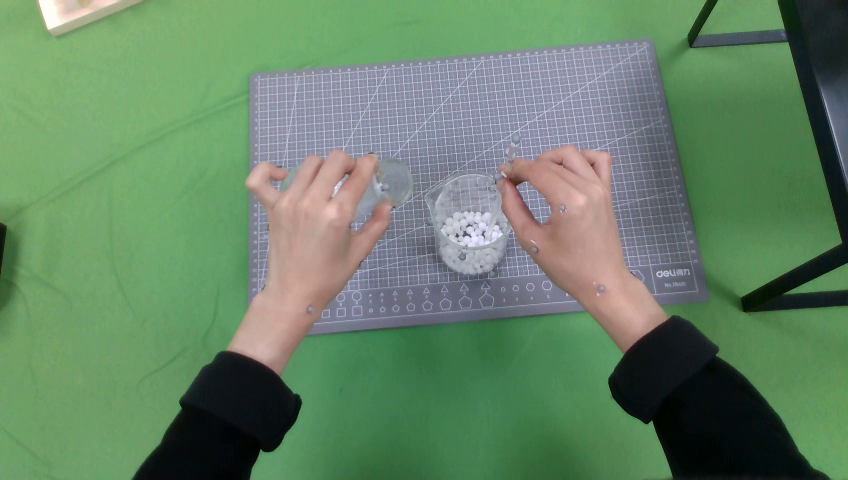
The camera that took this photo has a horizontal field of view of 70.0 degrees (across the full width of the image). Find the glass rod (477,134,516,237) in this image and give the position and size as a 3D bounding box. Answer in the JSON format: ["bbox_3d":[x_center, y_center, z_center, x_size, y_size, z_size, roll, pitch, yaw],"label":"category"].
[{"bbox_3d":[0.058,-0.039,0.510,0.008,0.201,0.008,1,71,-1],"label":"glass rod"}]

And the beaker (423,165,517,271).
[{"bbox_3d":[0.040,-0.016,0.567,0.084,0.101,0.073,18,74,9],"label":"beaker"}]

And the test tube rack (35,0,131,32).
[{"bbox_3d":[-0.341,-0.333,0.686,0.242,0.085,0.066,-25,73,-6],"label":"test tube rack"}]

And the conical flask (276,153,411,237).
[{"bbox_3d":[-0.064,-0.045,0.514,0.121,0.076,0.075,-7,65,45],"label":"conical flask"}]
